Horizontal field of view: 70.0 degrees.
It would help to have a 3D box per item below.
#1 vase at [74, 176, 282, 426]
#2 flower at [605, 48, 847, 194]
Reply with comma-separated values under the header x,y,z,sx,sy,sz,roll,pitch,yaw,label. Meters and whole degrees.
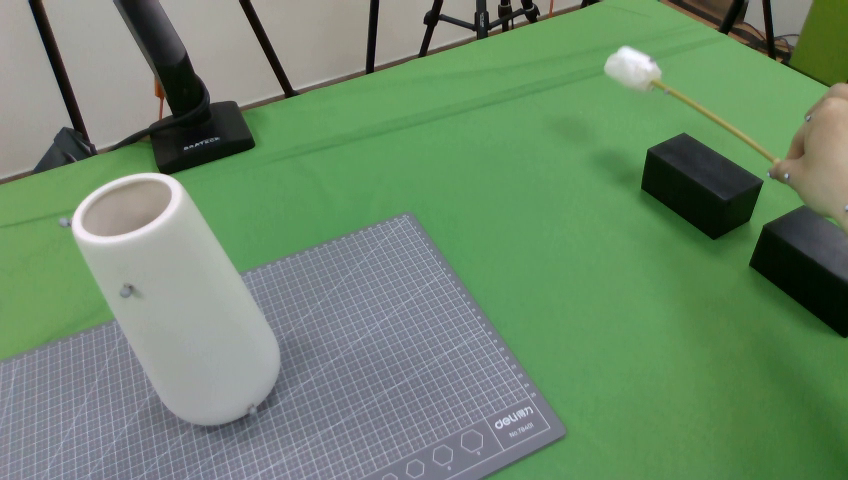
x,y,z,sx,sy,sz,roll,pitch,yaw,label
-0.174,0.051,0.447,0.098,0.202,0.097,-5,42,5,vase
0.291,-0.096,0.547,0.044,0.038,0.357,-10,39,-24,flower
